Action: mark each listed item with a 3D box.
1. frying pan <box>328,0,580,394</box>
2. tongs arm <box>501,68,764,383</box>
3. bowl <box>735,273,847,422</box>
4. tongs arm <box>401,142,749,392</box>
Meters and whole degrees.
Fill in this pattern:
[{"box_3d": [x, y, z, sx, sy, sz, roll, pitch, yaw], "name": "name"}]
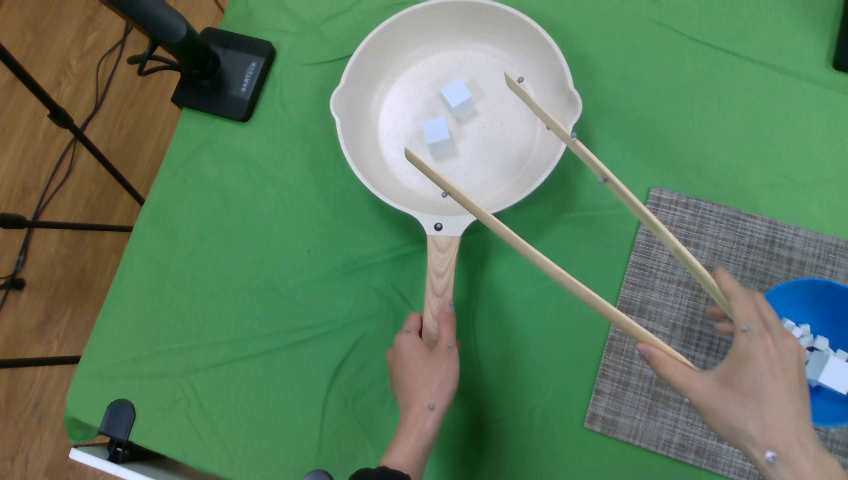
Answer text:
[{"box_3d": [0.026, -0.063, 0.726, 0.306, 0.103, 0.484, 3, 70, 9], "name": "frying pan"}, {"box_3d": [0.171, -0.034, 0.570, 0.051, 0.027, 0.381, -34, 62, -8], "name": "tongs arm"}, {"box_3d": [0.404, 0.116, 0.651, 0.151, 0.077, 0.150, -1, 77, 6], "name": "bowl"}, {"box_3d": [0.113, 0.012, 0.560, 0.028, 0.028, 0.384, -42, 63, -16], "name": "tongs arm"}]
